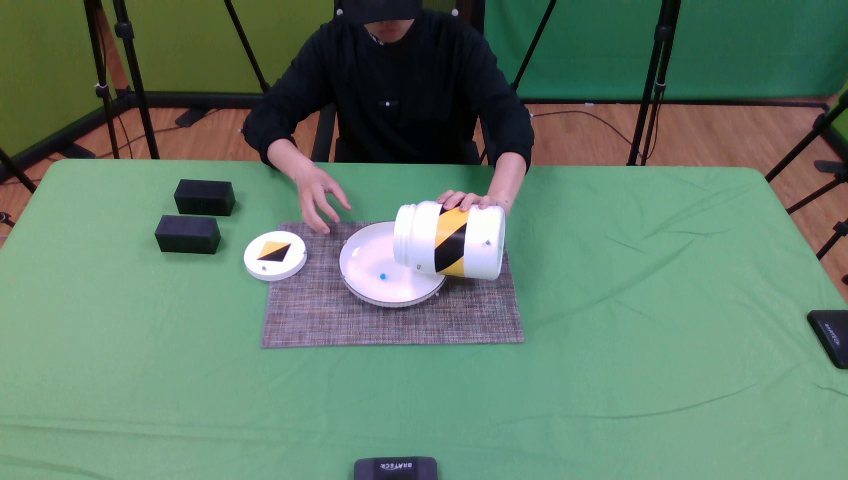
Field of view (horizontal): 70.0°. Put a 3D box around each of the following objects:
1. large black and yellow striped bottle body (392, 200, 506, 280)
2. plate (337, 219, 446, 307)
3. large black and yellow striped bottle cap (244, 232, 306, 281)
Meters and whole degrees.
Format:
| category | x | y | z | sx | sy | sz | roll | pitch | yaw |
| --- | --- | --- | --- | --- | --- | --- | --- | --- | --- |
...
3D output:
| category | x | y | z | sx | sy | sz | roll | pitch | yaw |
| --- | --- | --- | --- | --- | --- | --- | --- | --- | --- |
| large black and yellow striped bottle body | 0.046 | -0.002 | 1.070 | 0.184 | 0.131 | 0.130 | 5 | 45 | 12 |
| plate | -0.057 | 0.045 | 1.133 | 0.208 | 0.039 | 0.206 | 2 | 46 | -2 |
| large black and yellow striped bottle cap | -0.282 | 0.030 | 1.146 | 0.115 | 0.019 | 0.114 | -1 | 45 | 1 |
